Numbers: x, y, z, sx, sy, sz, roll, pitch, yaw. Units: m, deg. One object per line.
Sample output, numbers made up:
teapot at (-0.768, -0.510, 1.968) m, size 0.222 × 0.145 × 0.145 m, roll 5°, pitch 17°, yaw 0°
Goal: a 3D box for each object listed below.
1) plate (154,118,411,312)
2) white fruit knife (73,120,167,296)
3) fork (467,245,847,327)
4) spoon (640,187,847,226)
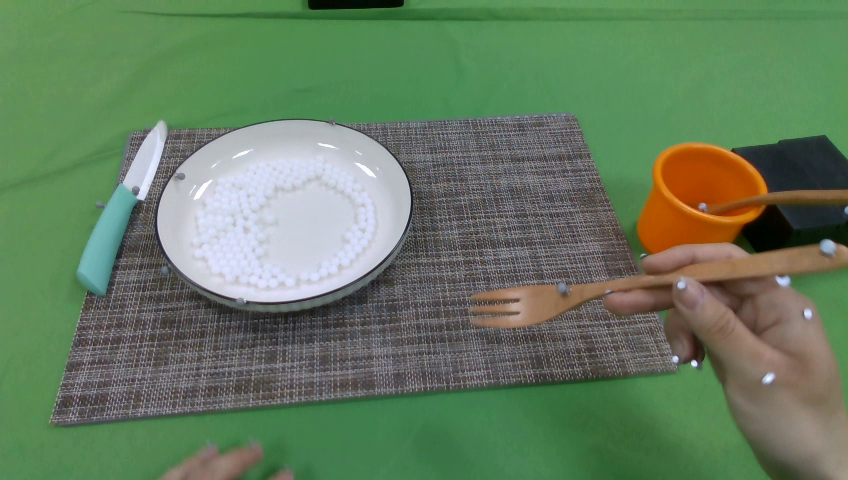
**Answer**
plate at (-0.115, -0.023, 0.514) m, size 0.209 × 0.038 × 0.207 m, roll 2°, pitch 51°, yaw -2°
white fruit knife at (-0.262, -0.040, 0.534) m, size 0.027 × 0.016 × 0.205 m, roll 22°, pitch 45°, yaw -22°
fork at (0.118, 0.026, 0.341) m, size 0.206 × 0.019 × 0.028 m, roll -14°, pitch 54°, yaw 31°
spoon at (0.256, -0.029, 0.476) m, size 0.041 × 0.193 × 0.022 m, roll -32°, pitch 103°, yaw -30°
